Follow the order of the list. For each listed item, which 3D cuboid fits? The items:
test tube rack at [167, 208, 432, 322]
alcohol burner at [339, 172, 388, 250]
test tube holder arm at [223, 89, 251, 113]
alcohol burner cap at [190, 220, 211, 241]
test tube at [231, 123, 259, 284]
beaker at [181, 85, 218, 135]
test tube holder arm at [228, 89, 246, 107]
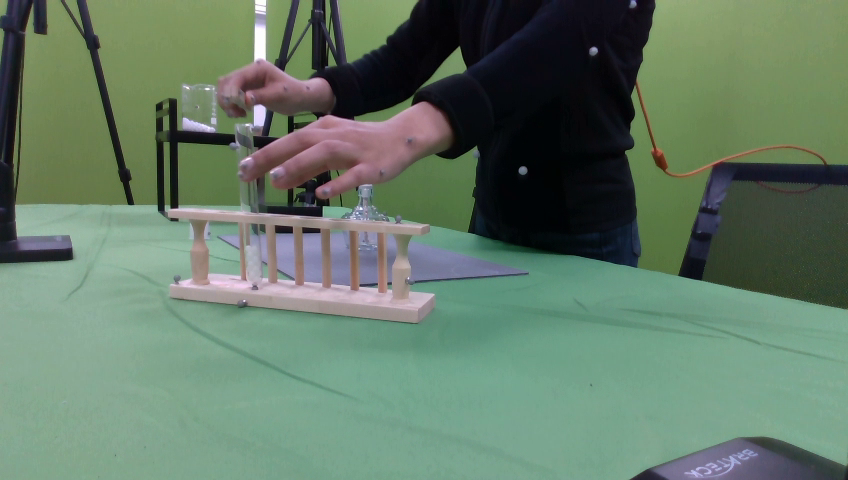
[{"bbox_3d":[-0.116,0.018,0.573,0.242,0.085,0.067,4,7,13],"label":"test tube rack"},{"bbox_3d":[-0.094,-0.045,0.938,0.078,0.119,0.078,0,7,0],"label":"alcohol burner"},{"bbox_3d":[-0.248,-0.184,0.807,0.013,0.015,0.178,4,6,-10],"label":"test tube holder arm"},{"bbox_3d":[-0.365,-0.023,0.987,0.034,0.048,0.034,2,8,0],"label":"alcohol burner cap"},{"bbox_3d":[-0.165,-0.032,0.559,0.017,0.150,0.017,-1,11,0],"label":"test tube"},{"bbox_3d":[-0.479,-0.276,1.290,0.074,0.100,0.084,2,8,-1],"label":"beaker"},{"bbox_3d":[-0.235,-0.179,0.764,0.010,0.015,0.087,4,6,-10],"label":"test tube holder arm"}]
